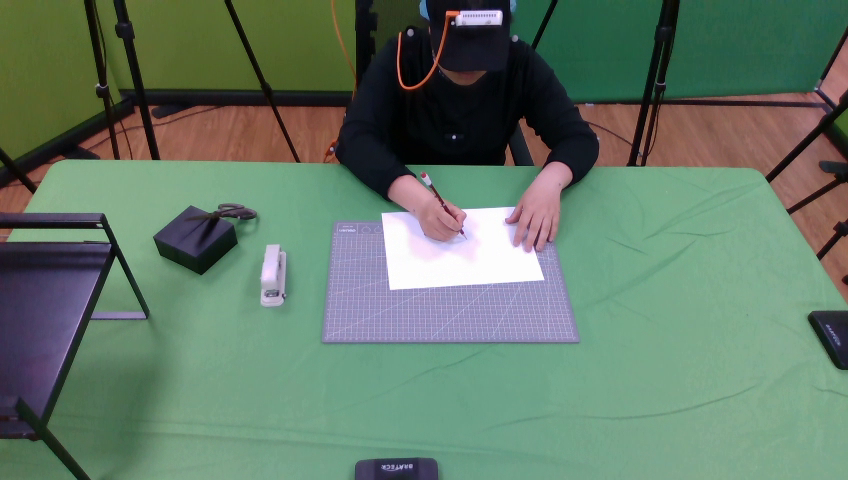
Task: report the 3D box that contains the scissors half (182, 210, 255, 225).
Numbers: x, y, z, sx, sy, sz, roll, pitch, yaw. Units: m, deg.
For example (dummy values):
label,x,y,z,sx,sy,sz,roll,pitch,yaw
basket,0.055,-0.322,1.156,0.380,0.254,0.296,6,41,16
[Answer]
label,x,y,z,sx,sy,sz,roll,pitch,yaw
scissors half,-0.389,-0.042,1.158,0.040,0.013,0.175,42,22,22

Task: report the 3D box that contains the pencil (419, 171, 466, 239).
label,x,y,z,sx,sy,sz,roll,pitch,yaw
pencil,0.039,-0.062,1.152,0.012,0.195,0.012,-20,42,19

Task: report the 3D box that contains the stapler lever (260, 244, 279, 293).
label,x,y,z,sx,sy,sz,roll,pitch,yaw
stapler lever,-0.278,0.045,1.096,0.027,0.040,0.117,-1,44,-9

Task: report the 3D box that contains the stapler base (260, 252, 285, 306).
label,x,y,z,sx,sy,sz,roll,pitch,yaw
stapler base,-0.279,0.064,1.113,0.041,0.024,0.129,-1,44,-9

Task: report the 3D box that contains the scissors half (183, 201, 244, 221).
label,x,y,z,sx,sy,sz,roll,pitch,yaw
scissors half,-0.405,-0.054,1.163,0.040,0.013,0.175,30,18,7
